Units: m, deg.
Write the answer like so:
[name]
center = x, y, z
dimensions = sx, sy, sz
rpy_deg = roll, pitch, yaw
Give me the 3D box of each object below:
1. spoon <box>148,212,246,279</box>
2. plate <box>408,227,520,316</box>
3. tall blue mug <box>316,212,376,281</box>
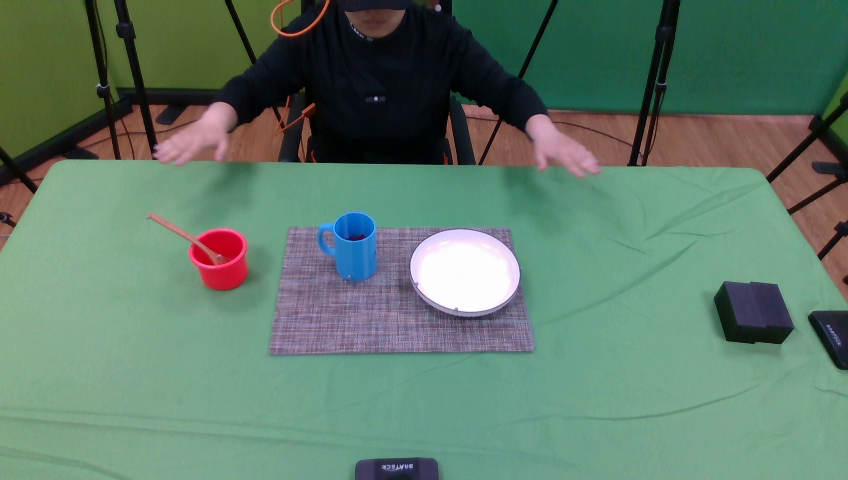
[spoon]
center = -0.400, 0.009, 1.076
dimensions = 0.194, 0.021, 0.041
rpy_deg = 42, 37, -25
[plate]
center = 0.073, 0.062, 1.128
dimensions = 0.208, 0.039, 0.206
rpy_deg = 2, 46, -2
[tall blue mug]
center = -0.142, 0.014, 1.109
dimensions = 0.107, 0.108, 0.077
rpy_deg = -5, 47, -8
